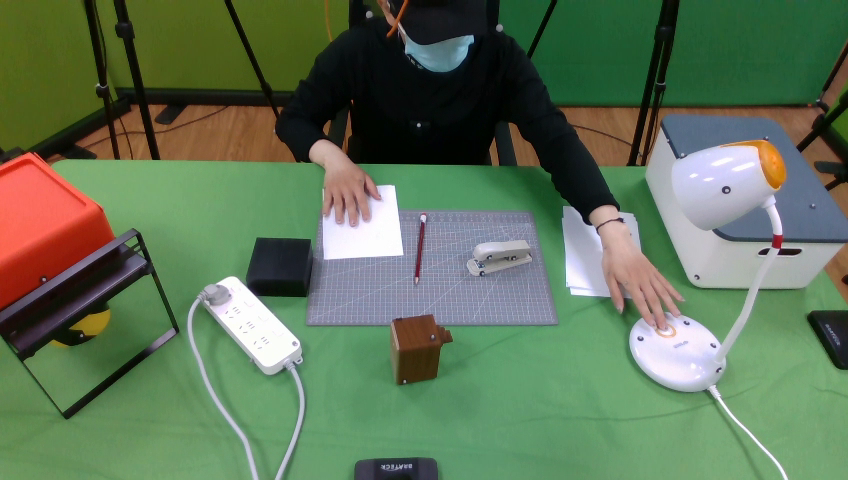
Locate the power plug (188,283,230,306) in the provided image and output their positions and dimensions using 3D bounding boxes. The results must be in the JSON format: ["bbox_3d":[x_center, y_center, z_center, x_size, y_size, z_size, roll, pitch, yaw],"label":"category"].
[{"bbox_3d":[-0.368,0.099,1.036,0.072,0.053,0.035,-24,52,-25],"label":"power plug"}]

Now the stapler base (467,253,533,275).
[{"bbox_3d":[0.147,0.035,1.171,0.131,0.024,0.041,-12,50,-18],"label":"stapler base"}]

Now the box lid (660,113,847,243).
[{"bbox_3d":[0.628,-0.132,1.170,0.263,0.015,0.369,1,46,-3],"label":"box lid"}]

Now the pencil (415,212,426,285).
[{"bbox_3d":[-0.007,0.014,1.189,0.012,0.012,0.193,5,47,1],"label":"pencil"}]

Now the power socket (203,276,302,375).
[{"bbox_3d":[-0.297,0.142,1.034,0.072,0.033,0.225,-34,58,-30],"label":"power socket"}]

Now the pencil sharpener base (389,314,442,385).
[{"bbox_3d":[-0.013,0.175,0.971,0.077,0.107,0.061,-8,47,-11],"label":"pencil sharpener base"}]

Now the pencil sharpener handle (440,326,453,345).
[{"bbox_3d":[0.036,0.155,0.975,0.031,0.068,0.036,-8,69,-11],"label":"pencil sharpener handle"}]

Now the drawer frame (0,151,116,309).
[{"bbox_3d":[-0.604,-0.013,0.875,0.201,0.083,0.213,31,52,23],"label":"drawer frame"}]

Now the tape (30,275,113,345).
[{"bbox_3d":[-0.593,0.117,1.021,0.117,0.053,0.116,3,46,-2],"label":"tape"}]

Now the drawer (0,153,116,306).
[{"bbox_3d":[-0.601,-0.015,0.880,0.193,0.073,0.211,32,53,23],"label":"drawer"}]

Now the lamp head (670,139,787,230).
[{"bbox_3d":[0.414,-0.078,0.812,0.113,0.123,0.112,13,70,-37],"label":"lamp head"}]

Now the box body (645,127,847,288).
[{"bbox_3d":[0.625,-0.080,1.222,0.254,0.161,0.361,0,46,-3],"label":"box body"}]

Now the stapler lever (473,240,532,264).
[{"bbox_3d":[0.150,0.017,1.155,0.118,0.040,0.026,-13,50,-17],"label":"stapler lever"}]

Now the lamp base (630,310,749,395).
[{"bbox_3d":[0.447,0.143,0.984,0.161,0.181,0.178,-24,55,-24],"label":"lamp base"}]
